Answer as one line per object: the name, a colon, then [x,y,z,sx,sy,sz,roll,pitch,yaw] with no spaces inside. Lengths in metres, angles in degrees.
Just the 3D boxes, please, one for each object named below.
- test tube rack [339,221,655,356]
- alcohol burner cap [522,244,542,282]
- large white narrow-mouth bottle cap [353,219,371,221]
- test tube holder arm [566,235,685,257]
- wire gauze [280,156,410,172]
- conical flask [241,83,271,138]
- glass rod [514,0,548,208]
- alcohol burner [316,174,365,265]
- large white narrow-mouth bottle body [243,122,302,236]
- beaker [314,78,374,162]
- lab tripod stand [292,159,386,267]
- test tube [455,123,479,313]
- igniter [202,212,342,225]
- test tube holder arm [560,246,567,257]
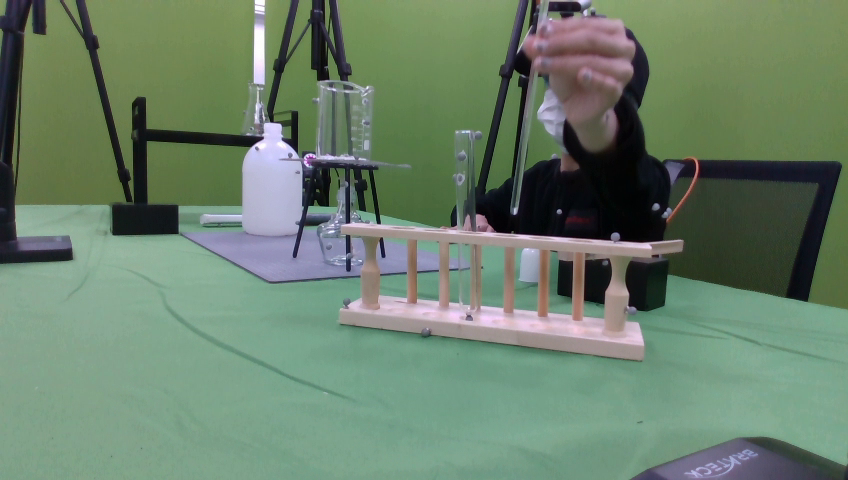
test tube rack: [0.056,0.032,0.495,0.242,0.085,0.067,4,7,15]
alcohol burner cap: [0.137,0.026,0.741,0.034,0.048,0.034,1,6,0]
large white narrow-mouth bottle cap: [-0.121,-0.029,1.184,0.038,0.024,0.037,2,8,0]
test tube holder arm: [0.215,0.006,0.631,0.179,0.015,0.013,-3,8,-31]
wire gauze: [-0.103,-0.102,0.785,0.121,0.011,0.126,11,8,42]
conical flask: [-0.384,-0.297,1.393,0.075,0.122,0.075,2,7,0]
glass rod: [0.085,-0.123,0.466,0.008,0.199,0.008,7,0,0]
alcohol burner: [-0.102,-0.028,0.790,0.078,0.119,0.078,0,6,0]
large white narrow-mouth bottle body: [-0.265,-0.109,1.061,0.102,0.194,0.102,2,8,0]
beaker: [-0.101,-0.150,0.773,0.074,0.100,0.083,-2,8,-40]
lab tripod stand: [-0.105,-0.039,0.797,0.148,0.131,0.148,2,5,0]
test tube: [0.034,-0.016,0.476,0.017,0.150,0.017,-2,10,1]
igniter: [-0.298,-0.043,1.216,0.278,0.025,0.057,-3,-2,-32]
test tube holder arm: [0.173,0.008,0.612,0.088,0.015,0.010,-3,8,-30]
